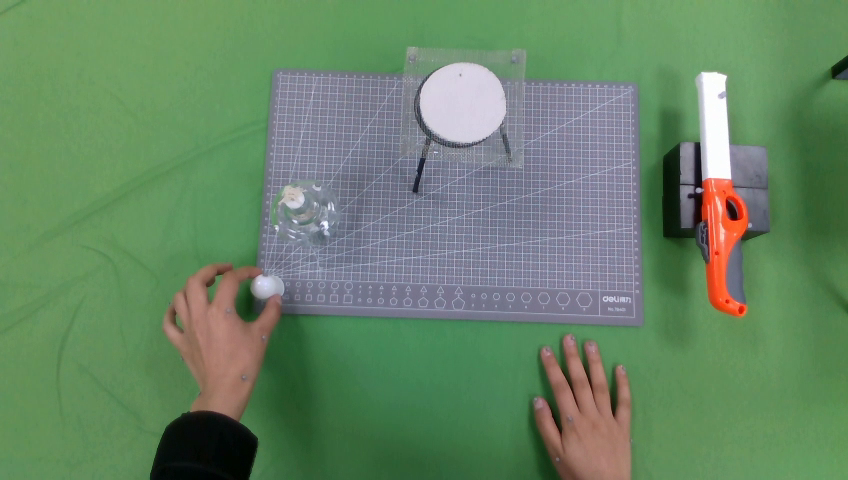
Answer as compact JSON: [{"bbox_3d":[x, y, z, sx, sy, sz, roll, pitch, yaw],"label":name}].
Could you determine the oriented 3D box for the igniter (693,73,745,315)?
[{"bbox_3d":[0.323,-0.055,0.669,0.057,0.025,0.275,2,77,-3],"label":"igniter"}]

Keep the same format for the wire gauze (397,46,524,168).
[{"bbox_3d":[0.038,-0.135,0.601,0.125,0.011,0.121,5,80,1],"label":"wire gauze"}]

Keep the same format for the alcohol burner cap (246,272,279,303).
[{"bbox_3d":[-0.184,0.051,0.678,0.034,0.048,0.033,0,75,-1],"label":"alcohol burner cap"}]

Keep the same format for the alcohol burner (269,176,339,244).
[{"bbox_3d":[-0.134,-0.036,0.659,0.078,0.119,0.077,0,81,1],"label":"alcohol burner"}]

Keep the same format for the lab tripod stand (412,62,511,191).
[{"bbox_3d":[0.031,-0.128,0.668,0.148,0.132,0.148,0,79,1],"label":"lab tripod stand"}]
